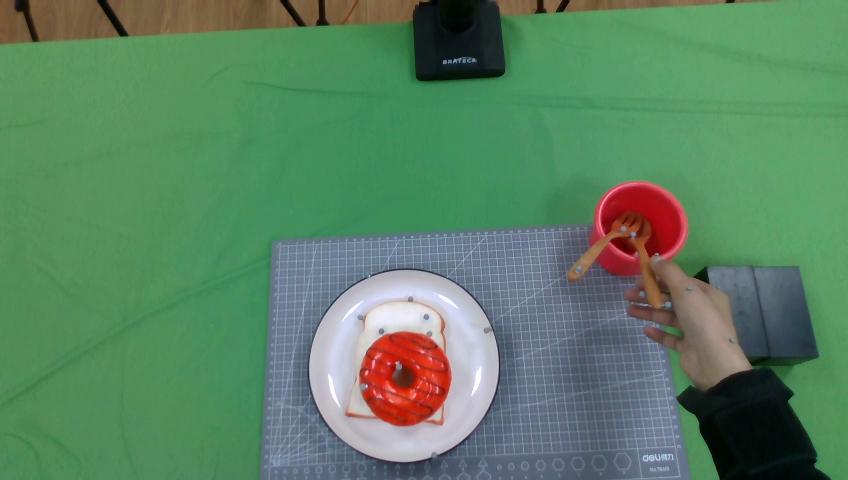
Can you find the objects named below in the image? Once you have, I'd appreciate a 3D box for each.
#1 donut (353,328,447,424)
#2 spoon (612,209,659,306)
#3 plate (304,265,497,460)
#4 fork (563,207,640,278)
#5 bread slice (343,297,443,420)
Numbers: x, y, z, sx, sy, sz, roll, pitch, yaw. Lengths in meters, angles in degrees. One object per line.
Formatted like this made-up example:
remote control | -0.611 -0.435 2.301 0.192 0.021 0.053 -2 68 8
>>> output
donut | -0.024 0.140 0.631 0.099 0.048 0.098 1 74 -1
spoon | 0.226 0.012 0.642 0.041 0.022 0.192 5 26 8
plate | -0.024 0.131 0.663 0.209 0.038 0.207 0 70 1
fork | 0.190 -0.001 0.641 0.028 0.019 0.207 30 31 23
bread slice | -0.031 0.127 0.667 0.105 0.019 0.130 3 71 1
